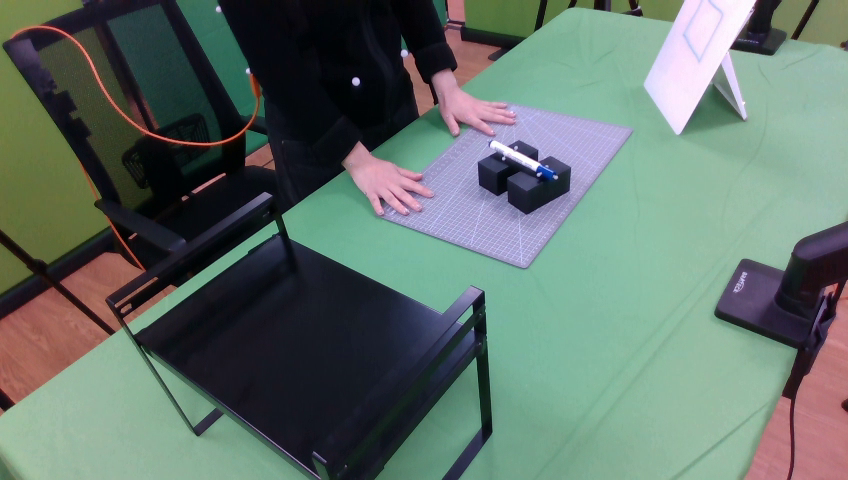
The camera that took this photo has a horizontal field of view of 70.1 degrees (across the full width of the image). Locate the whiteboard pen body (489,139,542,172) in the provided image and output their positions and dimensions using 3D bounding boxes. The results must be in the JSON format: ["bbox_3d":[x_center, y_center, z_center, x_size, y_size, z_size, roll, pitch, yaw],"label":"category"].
[{"bbox_3d":[0.165,-0.141,1.033,0.017,0.017,0.139,-33,50,-27],"label":"whiteboard pen body"}]

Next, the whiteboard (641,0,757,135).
[{"bbox_3d":[0.576,-0.367,1.147,0.144,0.305,0.216,10,39,-9],"label":"whiteboard"}]

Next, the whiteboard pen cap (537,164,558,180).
[{"bbox_3d":[0.203,-0.113,0.999,0.018,0.018,0.033,-33,49,-26],"label":"whiteboard pen cap"}]
